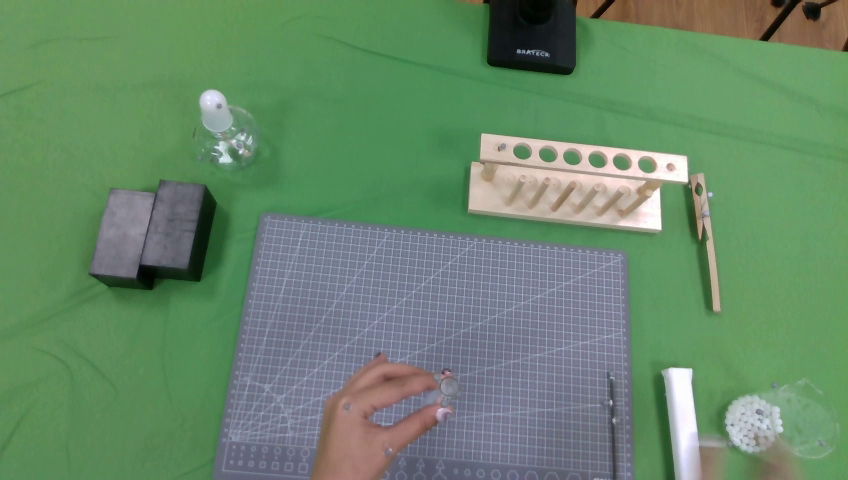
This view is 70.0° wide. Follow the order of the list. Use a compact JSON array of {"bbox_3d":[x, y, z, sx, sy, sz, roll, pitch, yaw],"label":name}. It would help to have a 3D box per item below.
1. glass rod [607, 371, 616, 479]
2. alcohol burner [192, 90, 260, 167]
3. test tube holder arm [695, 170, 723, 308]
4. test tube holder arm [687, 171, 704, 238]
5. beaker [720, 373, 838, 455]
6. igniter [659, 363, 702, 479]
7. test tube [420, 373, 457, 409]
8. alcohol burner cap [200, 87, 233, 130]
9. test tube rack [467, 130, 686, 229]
[{"bbox_3d":[0.207,0.245,0.667,0.008,0.008,0.198,6,71,-4],"label":"glass rod"},{"bbox_3d":[-0.232,-0.134,0.697,0.078,0.120,0.077,1,69,-3],"label":"alcohol burner"},{"bbox_3d":[0.356,-0.004,0.759,0.013,0.015,0.177,-12,70,28],"label":"test tube holder arm"},{"bbox_3d":[0.349,-0.045,0.775,0.010,0.015,0.087,-12,70,28],"label":"test tube holder arm"},{"bbox_3d":[0.379,0.189,0.657,0.074,0.101,0.083,19,70,2],"label":"beaker"},{"bbox_3d":[0.286,0.273,0.658,0.057,0.025,0.275,6,71,-14],"label":"igniter"},{"bbox_3d":[0.011,0.131,0.520,0.017,0.151,0.017,2,70,-5],"label":"test tube"},{"bbox_3d":[-0.228,-0.147,0.664,0.034,0.048,0.033,4,65,-9],"label":"alcohol burner cap"},{"bbox_3d":[0.179,-0.070,0.731,0.242,0.085,0.066,6,71,-3],"label":"test tube rack"}]
